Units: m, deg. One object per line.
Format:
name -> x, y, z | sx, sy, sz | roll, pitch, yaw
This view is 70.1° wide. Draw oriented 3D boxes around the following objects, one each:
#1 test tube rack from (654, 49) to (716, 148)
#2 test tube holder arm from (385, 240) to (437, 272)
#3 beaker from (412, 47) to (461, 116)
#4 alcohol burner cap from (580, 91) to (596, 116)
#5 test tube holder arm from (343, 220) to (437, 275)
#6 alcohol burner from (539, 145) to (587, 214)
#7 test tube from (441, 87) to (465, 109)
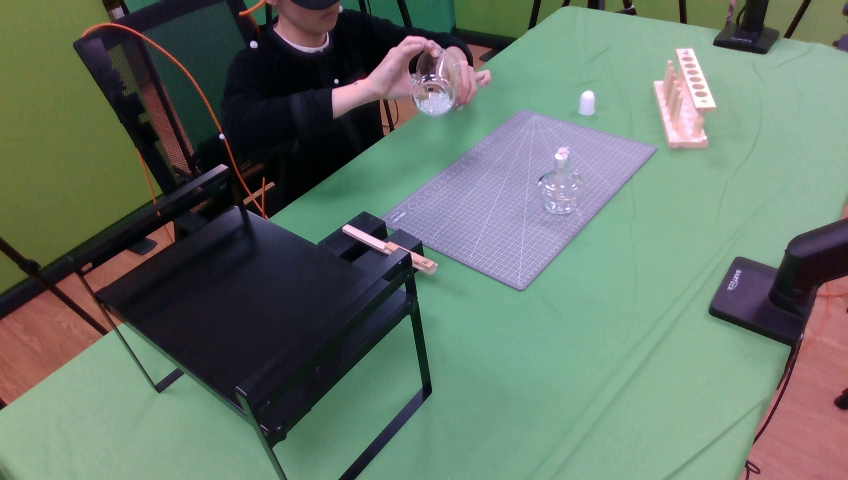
test tube rack -> 0.502, -0.281, 1.176 | 0.066, 0.085, 0.241 | 1, 41, 11
test tube holder arm -> -0.020, 0.022, 0.872 | 0.087, 0.010, 0.015 | 26, 58, 31
beaker -> 0.021, -0.251, 0.979 | 0.074, 0.084, 0.100 | -8, 40, 16
alcohol burner cap -> 0.338, -0.283, 1.238 | 0.034, 0.048, 0.033 | -5, 42, 5
test tube holder arm -> -0.054, 0.009, 0.899 | 0.177, 0.013, 0.015 | 26, 58, 30
alcohol burner -> 0.226, -0.102, 0.986 | 0.078, 0.119, 0.077 | -6, 41, 6
test tube -> 0.055, -0.258, 1.108 | 0.017, 0.017, 0.151 | 6, 4, 15
